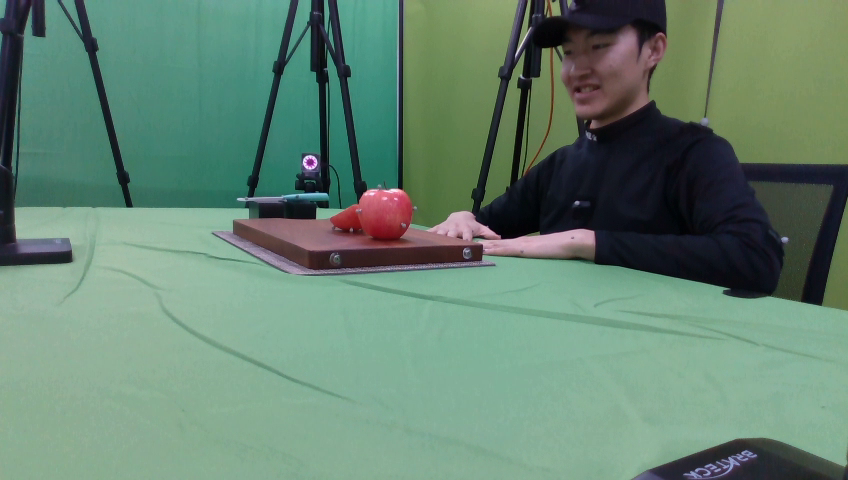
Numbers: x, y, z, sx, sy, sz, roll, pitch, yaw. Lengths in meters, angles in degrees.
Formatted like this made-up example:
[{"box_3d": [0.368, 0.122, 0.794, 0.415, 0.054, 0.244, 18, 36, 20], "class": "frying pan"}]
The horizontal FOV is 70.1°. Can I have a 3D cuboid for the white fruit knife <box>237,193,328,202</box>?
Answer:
[{"box_3d": [-0.294, -0.088, 1.279, 0.208, 0.016, 0.027, -6, -12, -36], "class": "white fruit knife"}]

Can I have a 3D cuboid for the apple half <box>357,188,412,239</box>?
[{"box_3d": [-0.050, -0.037, 0.873, 0.081, 0.074, 0.053, 2, 10, -39], "class": "apple half"}]

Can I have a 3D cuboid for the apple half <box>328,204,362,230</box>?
[{"box_3d": [-0.107, -0.034, 0.954, 0.081, 0.033, 0.081, -19, -5, -1], "class": "apple half"}]
